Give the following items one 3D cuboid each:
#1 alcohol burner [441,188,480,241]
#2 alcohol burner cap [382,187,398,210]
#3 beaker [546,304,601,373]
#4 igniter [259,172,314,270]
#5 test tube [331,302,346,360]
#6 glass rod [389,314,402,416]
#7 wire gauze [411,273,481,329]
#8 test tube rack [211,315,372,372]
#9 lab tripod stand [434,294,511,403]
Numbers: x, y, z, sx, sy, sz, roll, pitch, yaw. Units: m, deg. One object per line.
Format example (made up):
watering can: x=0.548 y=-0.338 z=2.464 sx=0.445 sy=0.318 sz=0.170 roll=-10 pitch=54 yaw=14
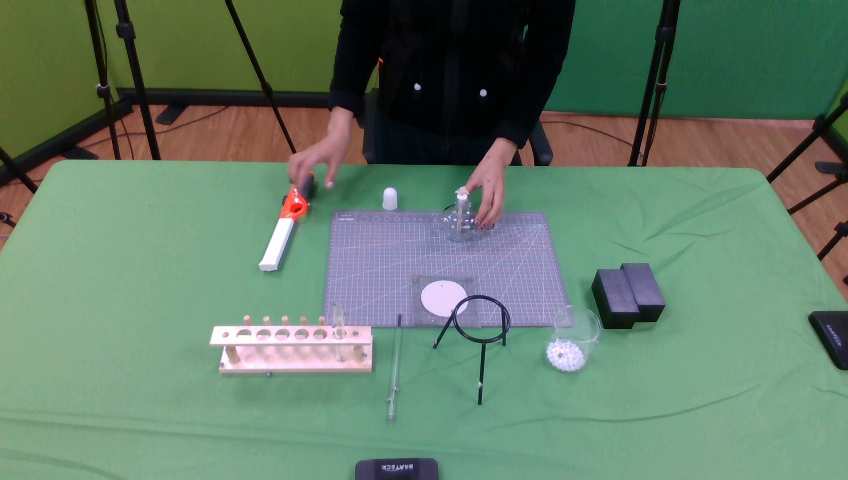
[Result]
alcohol burner: x=0.073 y=-0.055 z=1.189 sx=0.078 sy=0.120 sz=0.077 roll=1 pitch=48 yaw=-1
alcohol burner cap: x=-0.072 y=-0.090 z=1.266 sx=0.034 sy=0.048 sz=0.033 roll=2 pitch=47 yaw=-2
beaker: x=0.242 y=0.167 z=1.001 sx=0.084 sy=0.101 sz=0.073 roll=-32 pitch=55 yaw=-28
igniter: x=-0.273 y=-0.046 z=1.220 sx=0.057 sy=0.025 sz=0.275 roll=0 pitch=45 yaw=10
test tube: x=-0.132 y=0.144 z=0.938 sx=0.017 sy=0.151 sz=0.017 roll=2 pitch=49 yaw=-3
glass rod: x=-0.048 y=0.203 z=1.008 sx=0.008 sy=0.008 sz=0.198 roll=4 pitch=45 yaw=0
wire gauze: x=0.038 y=0.108 z=1.103 sx=0.125 sy=0.011 sz=0.120 roll=2 pitch=47 yaw=-3
test tube rack: x=-0.208 y=0.163 z=0.982 sx=0.242 sy=0.085 sz=0.066 roll=1 pitch=46 yaw=-4
lab tripod stand: x=0.087 y=0.164 z=0.969 sx=0.148 sy=0.132 sz=0.147 roll=3 pitch=47 yaw=-3
